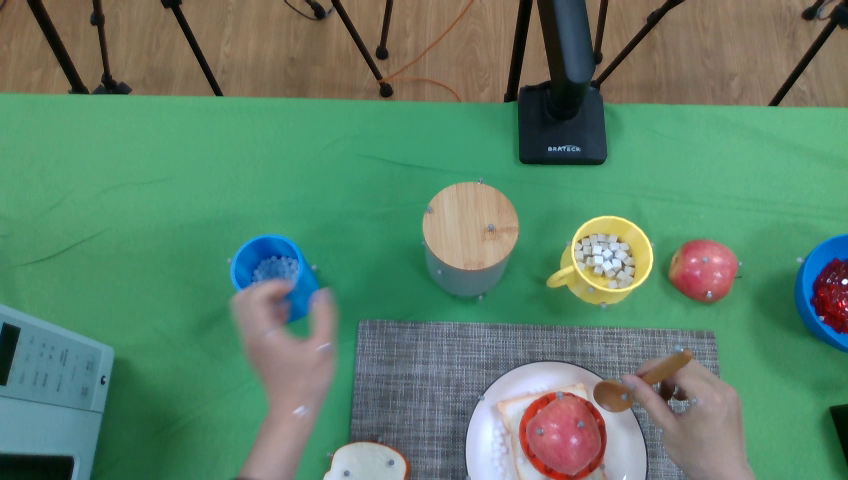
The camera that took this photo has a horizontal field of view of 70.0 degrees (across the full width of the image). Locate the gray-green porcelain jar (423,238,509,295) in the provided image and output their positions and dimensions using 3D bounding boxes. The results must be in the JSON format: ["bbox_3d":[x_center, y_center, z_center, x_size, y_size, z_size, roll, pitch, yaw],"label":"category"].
[{"bbox_3d":[0.052,0.006,0.742,0.106,0.127,0.105,0,70,0],"label":"gray-green porcelain jar"}]

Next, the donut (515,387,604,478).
[{"bbox_3d":[0.152,0.215,0.681,0.099,0.048,0.098,0,70,0],"label":"donut"}]

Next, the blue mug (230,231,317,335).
[{"bbox_3d":[-0.187,0.060,0.733,0.082,0.106,0.116,22,72,8],"label":"blue mug"}]

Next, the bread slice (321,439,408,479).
[{"bbox_3d":[-0.074,0.296,0.694,0.105,0.019,0.131,10,72,2],"label":"bread slice"}]

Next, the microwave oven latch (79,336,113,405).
[{"bbox_3d":[-0.393,0.154,0.716,0.030,0.029,0.078,6,71,2],"label":"microwave oven latch"}]

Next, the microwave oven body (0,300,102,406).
[{"bbox_3d":[-0.548,0.282,0.569,0.326,0.261,0.439,2,71,1],"label":"microwave oven body"}]

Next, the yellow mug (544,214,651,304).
[{"bbox_3d":[0.212,0.030,0.764,0.131,0.064,0.099,-21,71,-7],"label":"yellow mug"}]

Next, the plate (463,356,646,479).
[{"bbox_3d":[0.147,0.241,0.702,0.208,0.039,0.206,0,71,0],"label":"plate"}]

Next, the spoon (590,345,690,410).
[{"bbox_3d":[0.208,0.137,0.591,0.041,0.195,0.021,39,69,12],"label":"spoon"}]

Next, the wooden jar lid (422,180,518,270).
[{"bbox_3d":[0.051,-0.016,0.683,0.108,0.021,0.107,0,69,1],"label":"wooden jar lid"}]

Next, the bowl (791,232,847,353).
[{"bbox_3d":[0.515,0.073,0.743,0.151,0.077,0.150,0,71,1],"label":"bowl"}]

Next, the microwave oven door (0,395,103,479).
[{"bbox_3d":[-0.404,0.325,0.549,0.039,0.245,0.353,2,70,2],"label":"microwave oven door"}]

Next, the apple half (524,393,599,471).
[{"bbox_3d":[0.150,0.205,0.646,0.081,0.033,0.081,-3,71,8],"label":"apple half"}]

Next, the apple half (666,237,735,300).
[{"bbox_3d":[0.355,0.031,0.771,0.074,0.054,0.080,22,72,11],"label":"apple half"}]

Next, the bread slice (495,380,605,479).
[{"bbox_3d":[0.152,0.238,0.701,0.107,0.018,0.133,-14,74,-5],"label":"bread slice"}]
